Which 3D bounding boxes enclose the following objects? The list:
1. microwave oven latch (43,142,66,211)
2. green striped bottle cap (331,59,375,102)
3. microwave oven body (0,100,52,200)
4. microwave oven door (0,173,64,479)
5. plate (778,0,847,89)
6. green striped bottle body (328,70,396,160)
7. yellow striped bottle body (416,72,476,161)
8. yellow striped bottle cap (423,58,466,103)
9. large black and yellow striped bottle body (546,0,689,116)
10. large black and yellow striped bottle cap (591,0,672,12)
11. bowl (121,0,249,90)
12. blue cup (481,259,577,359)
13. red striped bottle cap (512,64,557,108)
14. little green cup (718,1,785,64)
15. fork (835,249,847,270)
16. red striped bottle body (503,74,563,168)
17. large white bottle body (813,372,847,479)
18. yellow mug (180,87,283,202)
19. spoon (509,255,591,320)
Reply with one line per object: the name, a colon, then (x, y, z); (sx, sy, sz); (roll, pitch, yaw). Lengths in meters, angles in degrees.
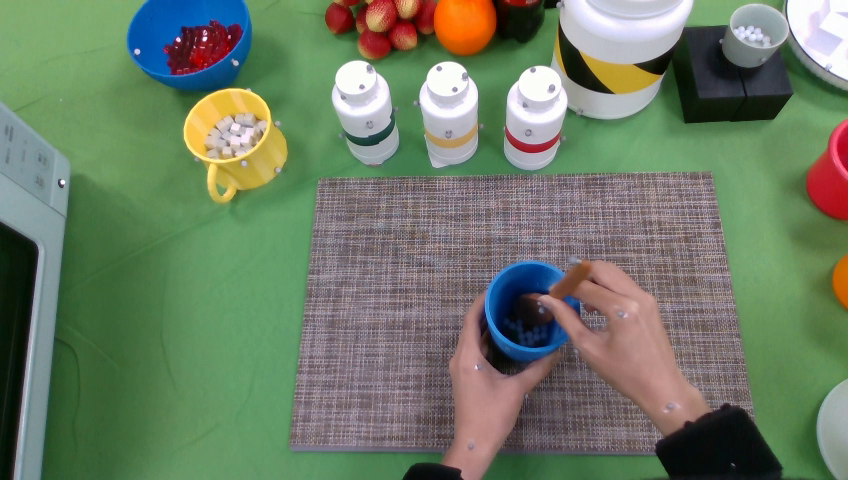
microwave oven latch: (-0.436, -0.072, 0.700); (0.030, 0.030, 0.078); (-8, 68, 1)
green striped bottle cap: (-0.074, -0.166, 0.630); (0.044, 0.020, 0.044); (-1, 65, 3)
microwave oven body: (-0.564, 0.075, 0.544); (0.326, 0.262, 0.438); (-10, 68, 0)
microwave oven door: (-0.414, 0.088, 0.522); (0.039, 0.245, 0.353); (-10, 67, 1)
plate: (0.527, -0.257, 0.722); (0.209, 0.038, 0.207); (-1, 68, 4)
green striped bottle body: (-0.069, -0.146, 0.678); (0.063, 0.120, 0.062); (-2, 67, 4)
yellow striped bottle body: (0.025, -0.144, 0.669); (0.063, 0.121, 0.062); (-2, 67, 5)
yellow striped bottle cap: (0.021, -0.164, 0.622); (0.044, 0.019, 0.044); (-1, 69, 3)
large black and yellow striped bottle body: (0.207, -0.238, 0.660); (0.131, 0.185, 0.130); (-2, 67, 4)
large black and yellow striped bottle cap: (0.199, -0.269, 0.582); (0.115, 0.019, 0.114); (-2, 66, 5)
bowl: (-0.283, -0.242, 0.757); (0.151, 0.077, 0.150); (-1, 68, 3)
blue cup: (0.097, 0.075, 0.581); (0.092, 0.101, 0.092); (-2, 68, 5)
red striped bottle cap: (0.112, -0.156, 0.611); (0.044, 0.018, 0.044); (0, 66, 0)
little green cup: (0.357, -0.227, 0.668); (0.061, 0.039, 0.061); (-1, 66, 3)
fork: (0.477, 0.042, 0.541); (0.028, 0.019, 0.205); (-34, 25, -15)
red striped bottle body: (0.118, -0.134, 0.659); (0.063, 0.121, 0.062); (-3, 65, 8)
large white bottle body: (0.421, 0.148, 0.481); (0.130, 0.186, 0.129); (-2, 66, 4)
yellow mug: (-0.225, -0.105, 0.702); (0.100, 0.064, 0.130); (9, 69, 7)
spoon: (0.109, 0.045, 0.528); (0.041, 0.194, 0.021); (32, 76, 4)
